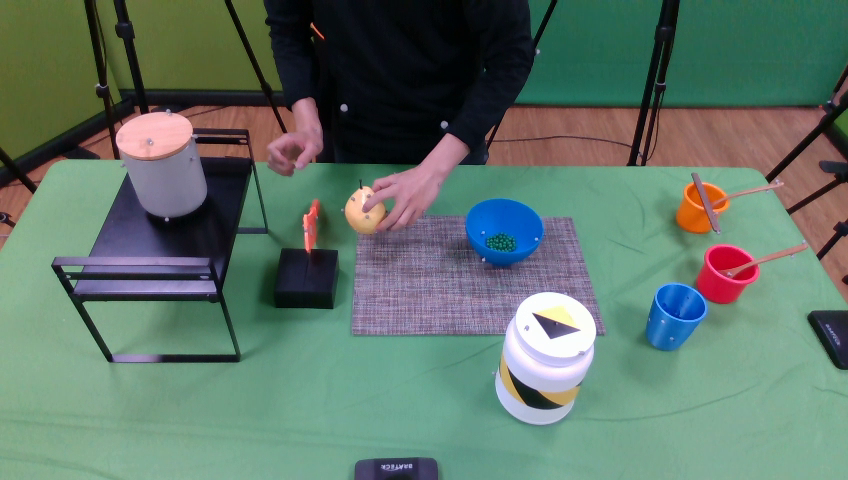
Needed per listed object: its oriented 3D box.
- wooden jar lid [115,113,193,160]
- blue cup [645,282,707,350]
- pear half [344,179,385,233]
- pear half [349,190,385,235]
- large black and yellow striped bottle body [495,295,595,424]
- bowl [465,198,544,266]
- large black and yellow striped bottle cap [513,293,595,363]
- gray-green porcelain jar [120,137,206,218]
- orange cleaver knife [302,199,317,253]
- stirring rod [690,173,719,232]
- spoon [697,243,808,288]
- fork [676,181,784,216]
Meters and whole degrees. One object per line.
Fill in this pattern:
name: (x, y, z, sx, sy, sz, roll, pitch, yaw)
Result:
wooden jar lid: (-0.399, -0.151, 0.900, 0.108, 0.021, 0.107, 3, 46, -3)
blue cup: (0.425, 0.136, 1.042, 0.093, 0.101, 0.092, 1, 44, -1)
pear half: (-0.118, -0.071, 1.140, 0.076, 0.110, 0.055, -20, 36, -24)
pear half: (-0.101, -0.047, 1.118, 0.070, 0.088, 0.031, -20, 36, -24)
large black and yellow striped bottle body: (0.183, 0.182, 0.923, 0.131, 0.185, 0.130, 2, 46, -2)
bowl: (0.149, -0.004, 1.168, 0.151, 0.077, 0.150, 2, 46, -2)
large black and yellow striped bottle cap: (0.186, 0.123, 0.863, 0.115, 0.019, 0.114, 3, 45, -3)
gray-green porcelain jar: (-0.403, -0.106, 0.946, 0.106, 0.127, 0.105, 3, 46, -2)
orange cleaver knife: (-0.219, -0.031, 1.168, 0.012, 0.077, 0.210, -5, 16, -3)
stirring rod: (0.566, -0.080, 1.225, 0.014, 0.006, 0.175, 2, 46, 2)
spoon: (0.601, 0.045, 1.115, 0.194, 0.022, 0.041, -29, 34, 30)
fork: (0.618, -0.084, 1.235, 0.019, 0.207, 0.028, 55, 40, -15)
